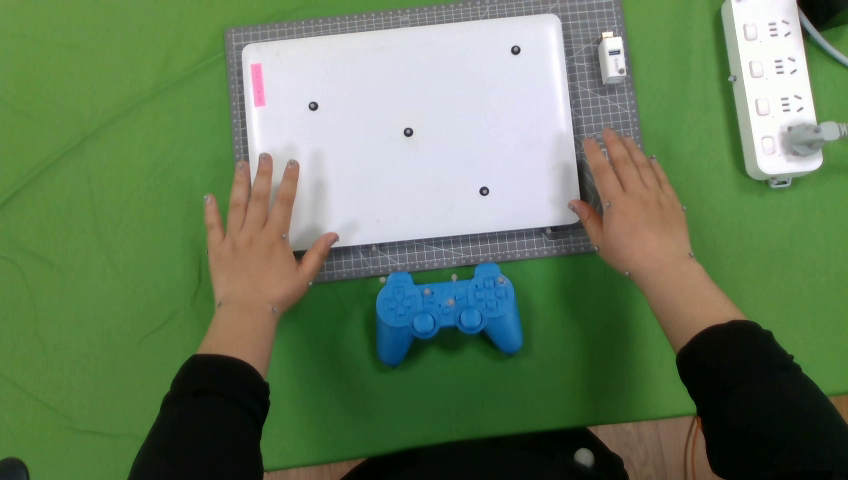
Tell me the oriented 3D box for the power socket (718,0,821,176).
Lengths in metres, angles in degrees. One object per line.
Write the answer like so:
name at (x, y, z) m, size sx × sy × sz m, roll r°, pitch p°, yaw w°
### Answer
power socket at (0.371, -0.183, 0.654) m, size 0.072 × 0.032 × 0.226 m, roll -6°, pitch 84°, yaw 2°

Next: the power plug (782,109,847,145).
power plug at (0.408, -0.115, 0.627) m, size 0.072 × 0.053 × 0.035 m, roll 6°, pitch 84°, yaw -2°

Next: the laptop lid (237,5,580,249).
laptop lid at (-0.019, -0.123, 0.653) m, size 0.357 × 0.013 × 0.241 m, roll -5°, pitch 86°, yaw 1°

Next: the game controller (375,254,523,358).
game controller at (0.023, 0.068, 0.632) m, size 0.155 × 0.052 × 0.096 m, roll -6°, pitch 80°, yaw 1°

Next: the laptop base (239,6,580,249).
laptop base at (-0.019, -0.124, 0.665) m, size 0.354 × 0.023 × 0.235 m, roll -7°, pitch 87°, yaw 1°

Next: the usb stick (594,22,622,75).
usb stick at (0.200, -0.213, 0.662) m, size 0.021 × 0.027 × 0.059 m, roll -7°, pitch 82°, yaw 3°
